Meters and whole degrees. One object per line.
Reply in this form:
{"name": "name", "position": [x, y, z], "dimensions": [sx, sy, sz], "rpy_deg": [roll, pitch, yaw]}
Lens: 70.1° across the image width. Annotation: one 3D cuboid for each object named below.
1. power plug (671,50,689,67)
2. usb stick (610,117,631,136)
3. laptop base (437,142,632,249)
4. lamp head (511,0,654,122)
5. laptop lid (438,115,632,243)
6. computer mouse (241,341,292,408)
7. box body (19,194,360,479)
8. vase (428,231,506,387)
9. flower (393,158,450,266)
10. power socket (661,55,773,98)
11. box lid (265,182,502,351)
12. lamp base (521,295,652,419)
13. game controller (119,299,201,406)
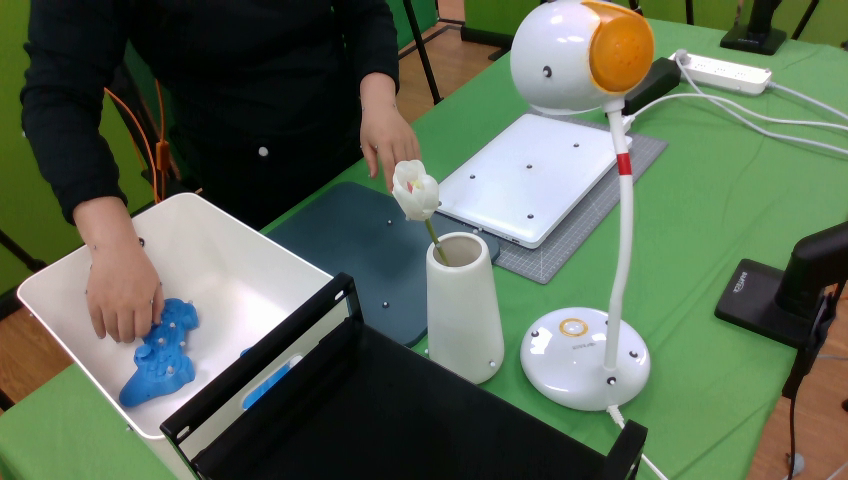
{"name": "power plug", "position": [0.540, -0.379, 1.302], "dimensions": [0.073, 0.053, 0.035], "rpy_deg": [-31, 46, -23]}
{"name": "usb stick", "position": [0.369, -0.208, 1.147], "dimensions": [0.021, 0.027, 0.059], "rpy_deg": [26, 56, 33]}
{"name": "laptop base", "position": [0.192, -0.117, 1.087], "dimensions": [0.233, 0.023, 0.355], "rpy_deg": [21, 48, 34]}
{"name": "lamp head", "position": [0.155, -0.168, 0.563], "dimensions": [0.113, 0.113, 0.122], "rpy_deg": [-18, 23, -12]}
{"name": "laptop lid", "position": [0.189, -0.126, 1.081], "dimensions": [0.239, 0.013, 0.358], "rpy_deg": [23, 49, 35]}
{"name": "computer mouse", "position": [-0.201, 0.177, 0.776], "dimensions": [0.063, 0.041, 0.116], "rpy_deg": [-11, 44, -8]}
{"name": "box body", "position": [-0.288, 0.118, 0.772], "dimensions": [0.361, 0.161, 0.255], "rpy_deg": [26, 50, 33]}
{"name": "vase", "position": [0.050, 0.087, 0.728], "dimensions": [0.098, 0.201, 0.097], "rpy_deg": [-3, 40, 3]}
{"name": "flower", "position": [0.028, 0.036, 0.664], "dimensions": [0.043, 0.364, 0.038], "rpy_deg": [36, 73, 30]}
{"name": "power socket", "position": [0.619, -0.353, 1.289], "dimensions": [0.225, 0.033, 0.072], "rpy_deg": [26, 51, 33]}
{"name": "box lid", "position": [-0.087, 0.023, 0.971], "dimensions": [0.368, 0.015, 0.264], "rpy_deg": [23, 49, 31]}
{"name": "lamp base", "position": [0.201, 0.095, 0.710], "dimensions": [0.161, 0.181, 0.178], "rpy_deg": [-16, 43, -10]}
{"name": "game controller", "position": [-0.360, 0.144, 0.825], "dimensions": [0.097, 0.052, 0.154], "rpy_deg": [-8, 44, -8]}
